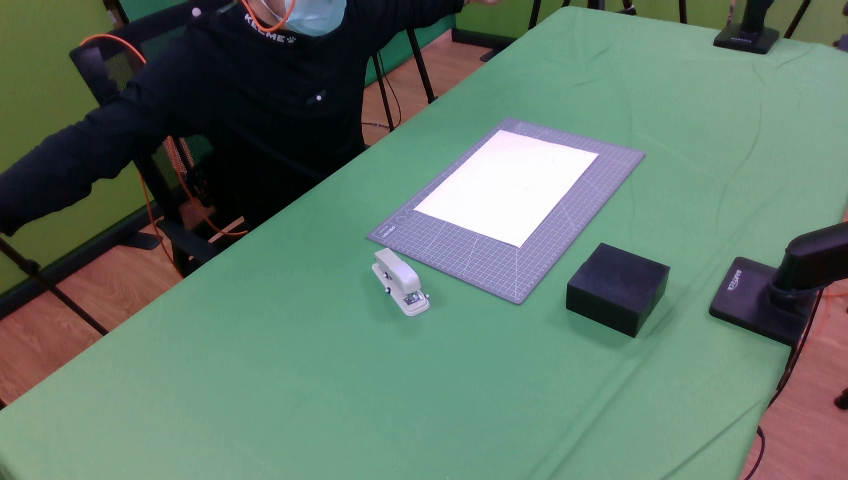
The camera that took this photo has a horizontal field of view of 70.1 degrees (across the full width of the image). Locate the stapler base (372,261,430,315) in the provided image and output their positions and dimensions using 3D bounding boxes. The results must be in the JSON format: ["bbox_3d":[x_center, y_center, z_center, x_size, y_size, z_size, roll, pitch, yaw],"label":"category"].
[{"bbox_3d":[-0.037,0.061,0.904,0.041,0.024,0.129,-21,41,-20],"label":"stapler base"}]

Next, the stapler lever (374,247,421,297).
[{"bbox_3d":[-0.040,0.041,0.889,0.027,0.040,0.117,-21,41,-20],"label":"stapler lever"}]
